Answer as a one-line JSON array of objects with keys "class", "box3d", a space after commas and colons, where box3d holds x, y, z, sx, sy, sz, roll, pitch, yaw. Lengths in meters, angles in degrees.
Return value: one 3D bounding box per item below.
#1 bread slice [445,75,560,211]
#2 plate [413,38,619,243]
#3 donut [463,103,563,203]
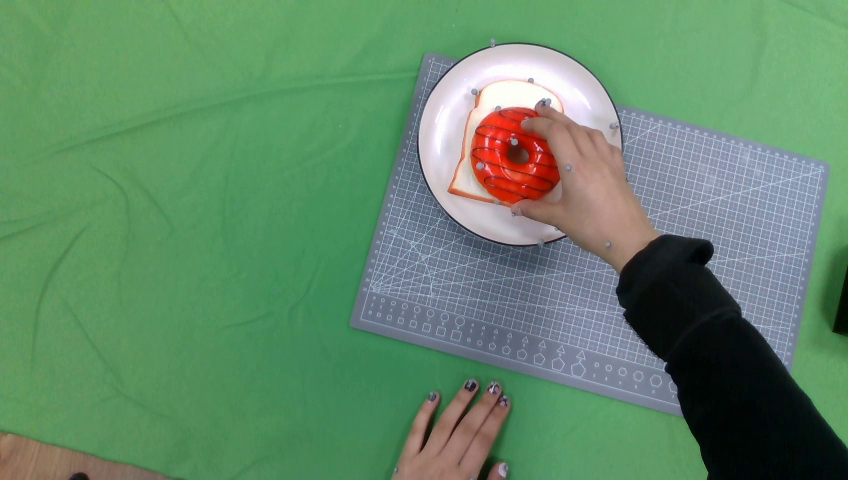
[{"class": "bread slice", "box3d": [0.085, -0.104, 0.619, 0.105, 0.019, 0.131, 12, 84, -3]}, {"class": "plate", "box3d": [0.092, -0.098, 0.617, 0.209, 0.038, 0.208, 0, 84, -3]}, {"class": "donut", "box3d": [0.087, -0.085, 0.589, 0.099, 0.048, 0.099, 0, 85, -5]}]
